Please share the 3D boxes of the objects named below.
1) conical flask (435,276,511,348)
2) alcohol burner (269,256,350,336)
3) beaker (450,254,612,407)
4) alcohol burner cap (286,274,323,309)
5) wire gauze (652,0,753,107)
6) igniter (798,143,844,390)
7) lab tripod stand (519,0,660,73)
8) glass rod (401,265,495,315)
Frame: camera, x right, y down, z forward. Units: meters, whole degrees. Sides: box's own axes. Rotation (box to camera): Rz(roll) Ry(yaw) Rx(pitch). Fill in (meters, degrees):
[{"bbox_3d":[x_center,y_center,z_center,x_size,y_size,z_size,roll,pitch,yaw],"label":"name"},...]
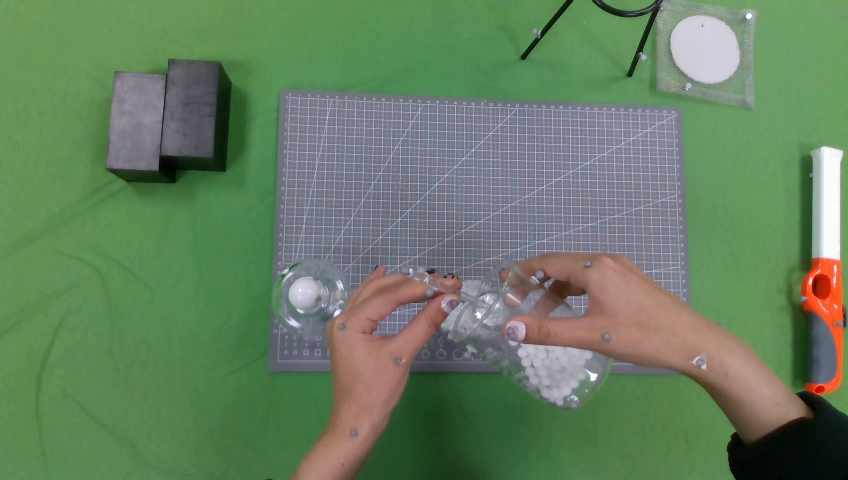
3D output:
[{"bbox_3d":[0.052,0.067,0.583,0.075,0.122,0.075,1,81,-5],"label":"conical flask"},{"bbox_3d":[-0.110,0.051,0.575,0.078,0.119,0.077,0,81,-3],"label":"alcohol burner"},{"bbox_3d":[0.079,0.069,0.449,0.100,0.084,0.074,36,83,-7],"label":"beaker"},{"bbox_3d":[-0.107,0.045,0.539,0.034,0.048,0.034,1,85,-8],"label":"alcohol burner cap"},{"bbox_3d":[0.326,-0.224,0.708,0.125,0.011,0.121,7,82,-6],"label":"wire gauze"},{"bbox_3d":[0.443,0.028,0.674,0.057,0.025,0.275,8,82,-15],"label":"igniter"},{"bbox_3d":[0.181,-0.244,0.634,0.148,0.131,0.148,1,84,-4],"label":"lab tripod stand"},{"bbox_3d":[0.025,0.041,0.469,0.008,0.201,0.008,-6,74,21],"label":"glass rod"}]
